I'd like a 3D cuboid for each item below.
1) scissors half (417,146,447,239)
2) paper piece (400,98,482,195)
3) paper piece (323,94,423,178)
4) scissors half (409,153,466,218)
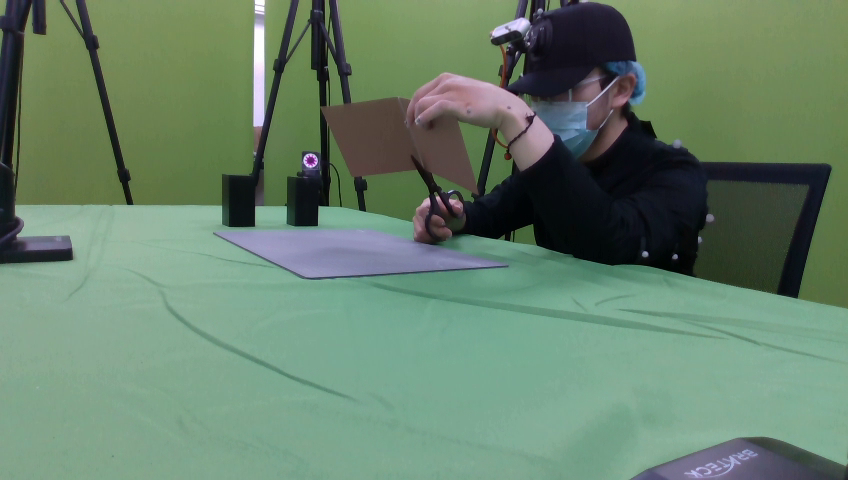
[{"bbox_3d":[0.009,-0.077,1.001,0.040,0.175,0.012,-31,33,-32],"label":"scissors half"},{"bbox_3d":[0.025,-0.138,0.886,0.008,0.136,0.137,-41,44,-19],"label":"paper piece"},{"bbox_3d":[-0.080,-0.161,0.957,0.135,0.135,0.004,-3,35,25],"label":"paper piece"},{"bbox_3d":[0.024,-0.092,1.010,0.013,0.040,0.176,14,-19,43],"label":"scissors half"}]
